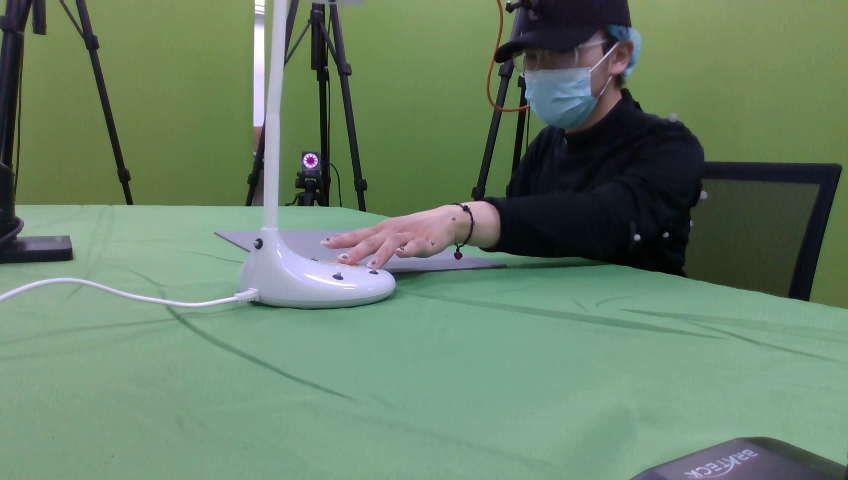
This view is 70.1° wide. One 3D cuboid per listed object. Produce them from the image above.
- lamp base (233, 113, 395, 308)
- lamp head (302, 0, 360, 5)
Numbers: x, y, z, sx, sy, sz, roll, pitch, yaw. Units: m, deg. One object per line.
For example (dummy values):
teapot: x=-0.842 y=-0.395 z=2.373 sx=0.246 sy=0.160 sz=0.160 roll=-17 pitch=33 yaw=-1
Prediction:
lamp base: x=-0.113 y=-0.033 z=0.600 sx=0.160 sy=0.180 sz=0.180 roll=6 pitch=11 yaw=28
lamp head: x=-0.095 y=-0.314 z=0.610 sx=0.112 sy=0.123 sz=0.112 roll=-4 pitch=50 yaw=5
